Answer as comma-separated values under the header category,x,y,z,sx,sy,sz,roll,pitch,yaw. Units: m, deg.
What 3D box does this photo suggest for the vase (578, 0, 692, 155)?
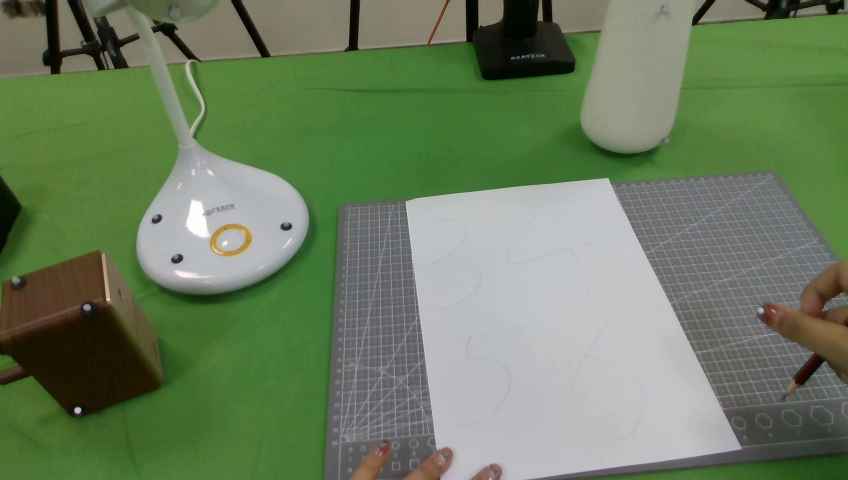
category,x,y,z,sx,sy,sz,roll,pitch,yaw
vase,0.214,-0.185,0.612,0.098,0.202,0.097,-2,45,3

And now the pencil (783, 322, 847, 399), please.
category,x,y,z,sx,sy,sz,roll,pitch,yaw
pencil,0.274,0.033,0.361,0.012,0.195,0.012,13,35,-9

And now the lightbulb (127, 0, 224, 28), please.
category,x,y,z,sx,sy,sz,roll,pitch,yaw
lightbulb,-0.142,-0.166,0.314,0.059,0.108,0.059,-14,24,7

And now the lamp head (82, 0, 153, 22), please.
category,x,y,z,sx,sy,sz,roll,pitch,yaw
lamp head,-0.153,-0.190,0.310,0.112,0.124,0.111,-24,22,11

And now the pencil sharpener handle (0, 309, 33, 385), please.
category,x,y,z,sx,sy,sz,roll,pitch,yaw
pencil sharpener handle,-0.299,0.080,0.428,0.031,0.068,0.035,-20,52,-15

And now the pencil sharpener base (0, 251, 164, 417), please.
category,x,y,z,sx,sy,sz,roll,pitch,yaw
pencil sharpener base,-0.252,0.072,0.449,0.077,0.108,0.060,-20,48,-15

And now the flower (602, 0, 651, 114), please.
category,x,y,z,sx,sy,sz,roll,pitch,yaw
flower,0.206,-0.227,0.538,0.044,0.364,0.038,36,70,16

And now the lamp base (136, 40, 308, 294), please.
category,x,y,z,sx,sy,sz,roll,pitch,yaw
lamp base,-0.204,-0.072,0.537,0.161,0.182,0.177,-28,48,-22
